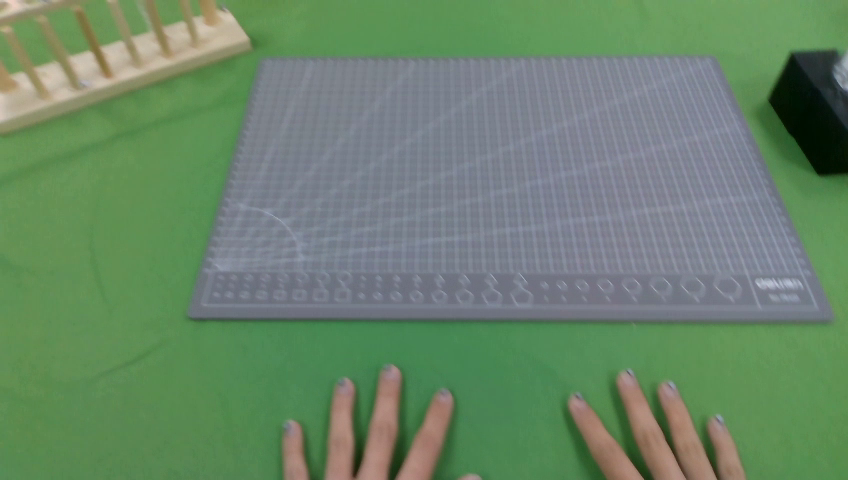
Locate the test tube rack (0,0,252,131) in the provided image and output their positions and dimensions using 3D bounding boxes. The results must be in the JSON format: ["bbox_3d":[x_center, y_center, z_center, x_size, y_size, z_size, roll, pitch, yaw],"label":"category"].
[{"bbox_3d":[-0.296,-0.194,0.564,0.242,0.086,0.066,-25,56,-18],"label":"test tube rack"}]

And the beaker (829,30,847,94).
[{"bbox_3d":[0.362,-0.161,0.456,0.074,0.101,0.083,-22,54,-15],"label":"beaker"}]

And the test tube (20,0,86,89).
[{"bbox_3d":[-0.324,-0.192,0.507,0.017,0.152,0.017,0,50,1],"label":"test tube"}]

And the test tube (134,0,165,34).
[{"bbox_3d":[-0.272,-0.253,0.545,0.017,0.152,0.017,-3,53,5],"label":"test tube"}]
